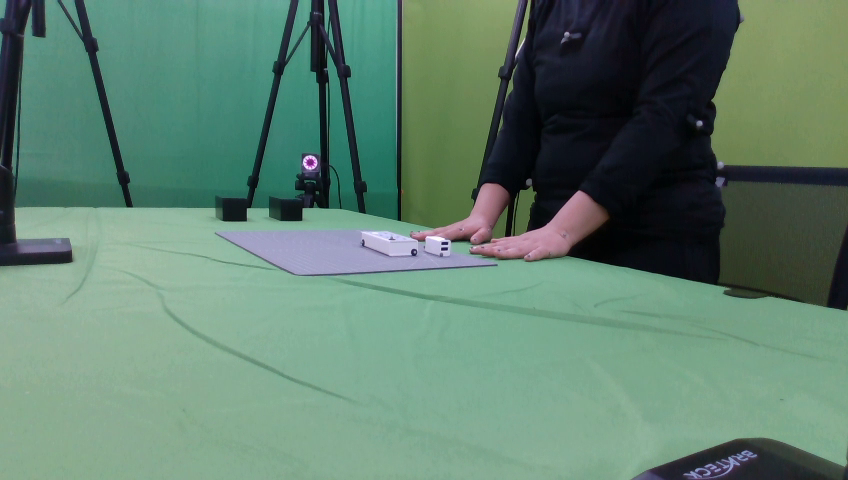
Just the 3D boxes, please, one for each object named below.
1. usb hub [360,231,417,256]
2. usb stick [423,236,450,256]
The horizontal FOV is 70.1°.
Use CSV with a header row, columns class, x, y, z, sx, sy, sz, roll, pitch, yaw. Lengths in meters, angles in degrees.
class,x,y,z,sx,sy,sz,roll,pitch,yaw
usb hub,-0.059,0.005,0.951,0.050,0.025,0.124,-2,8,-26
usb stick,0.017,0.009,0.937,0.021,0.027,0.059,0,5,-29
